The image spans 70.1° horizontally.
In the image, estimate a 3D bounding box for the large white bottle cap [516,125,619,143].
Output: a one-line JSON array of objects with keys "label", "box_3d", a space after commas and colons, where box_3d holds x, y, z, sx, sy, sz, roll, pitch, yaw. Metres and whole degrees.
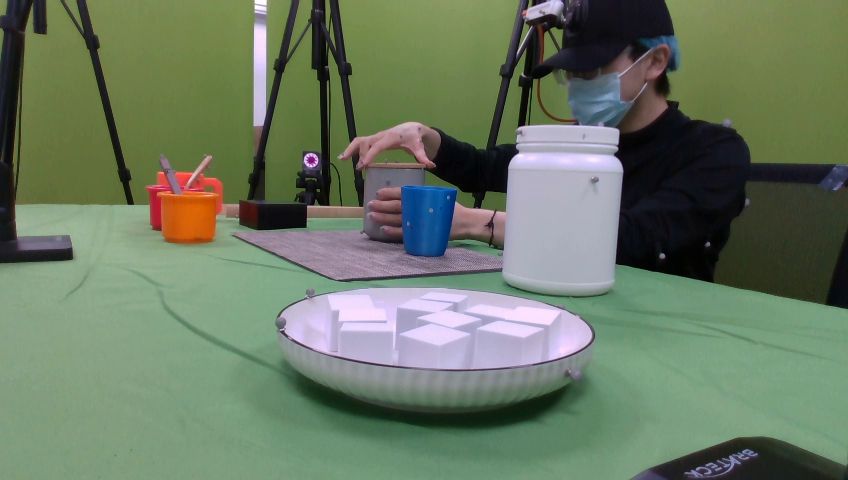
[{"label": "large white bottle cap", "box_3d": [0.164, -0.120, 0.695, 0.115, 0.018, 0.115, 2, 8, 0]}]

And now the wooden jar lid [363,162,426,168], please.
[{"label": "wooden jar lid", "box_3d": [-0.051, -0.125, 1.046, 0.108, 0.020, 0.108, 0, 9, 0]}]

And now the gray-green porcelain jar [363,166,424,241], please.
[{"label": "gray-green porcelain jar", "box_3d": [-0.054, -0.065, 1.054, 0.106, 0.126, 0.106, 2, 8, 0]}]

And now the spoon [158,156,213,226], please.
[{"label": "spoon", "box_3d": [-0.434, -0.094, 1.122, 0.041, 0.022, 0.193, 5, 51, 14]}]

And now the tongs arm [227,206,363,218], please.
[{"label": "tongs arm", "box_3d": [-0.252, -0.062, 1.361, 0.387, 0.026, 0.050, -1, 3, -32]}]

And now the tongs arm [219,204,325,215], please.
[{"label": "tongs arm", "box_3d": [-0.289, -0.068, 1.436, 0.389, 0.027, 0.028, 0, -1, -18]}]

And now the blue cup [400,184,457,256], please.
[{"label": "blue cup", "box_3d": [0.003, -0.029, 0.901, 0.093, 0.100, 0.092, 4, 8, 0]}]

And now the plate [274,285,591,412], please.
[{"label": "plate", "box_3d": [0.005, 0.069, 0.408, 0.208, 0.039, 0.207, 2, 7, 0]}]

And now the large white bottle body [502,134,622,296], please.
[{"label": "large white bottle body", "box_3d": [0.161, -0.037, 0.706, 0.131, 0.184, 0.130, 2, 7, 0]}]

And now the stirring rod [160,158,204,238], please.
[{"label": "stirring rod", "box_3d": [-0.391, -0.070, 0.972, 0.014, 0.006, 0.175, -3, 51, -48]}]

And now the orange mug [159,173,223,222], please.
[{"label": "orange mug", "box_3d": [-0.477, -0.089, 1.241, 0.127, 0.101, 0.083, -7, 12, -33]}]
